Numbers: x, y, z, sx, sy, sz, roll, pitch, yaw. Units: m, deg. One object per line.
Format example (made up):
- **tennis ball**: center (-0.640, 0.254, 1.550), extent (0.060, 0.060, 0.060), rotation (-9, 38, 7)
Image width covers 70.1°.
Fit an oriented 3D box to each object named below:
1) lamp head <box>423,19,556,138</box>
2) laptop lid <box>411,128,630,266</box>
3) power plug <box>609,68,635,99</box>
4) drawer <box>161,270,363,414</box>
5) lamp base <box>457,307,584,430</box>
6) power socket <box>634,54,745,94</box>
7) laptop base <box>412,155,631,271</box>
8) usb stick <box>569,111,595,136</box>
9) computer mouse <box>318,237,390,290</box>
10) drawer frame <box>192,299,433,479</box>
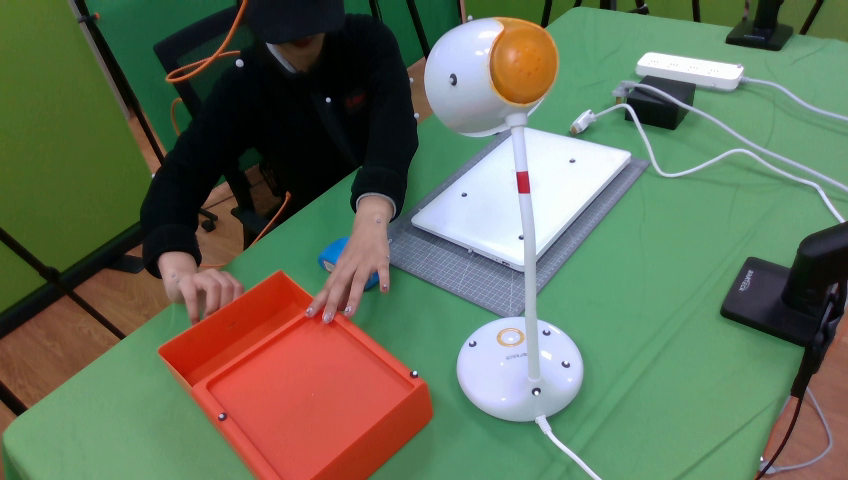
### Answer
- **lamp head**: center (0.068, -0.151, 0.563), extent (0.113, 0.113, 0.122), rotation (-21, 18, -13)
- **laptop lid**: center (0.172, -0.093, 1.049), extent (0.239, 0.013, 0.358), rotation (23, 49, 36)
- **power plug**: center (0.406, -0.322, 1.234), extent (0.035, 0.072, 0.052), rotation (6, 34, -34)
- **drawer**: center (-0.201, 0.157, 0.792), extent (0.195, 0.073, 0.210), rotation (-35, 46, -29)
- **lamp base**: center (0.115, 0.108, 0.713), extent (0.161, 0.181, 0.178), rotation (-16, 43, -8)
- **power socket**: center (0.563, -0.358, 1.295), extent (0.225, 0.033, 0.072), rotation (21, 49, 31)
- **laptop base**: center (0.176, -0.084, 1.055), extent (0.233, 0.023, 0.355), rotation (21, 48, 36)
- **usb stick**: center (0.309, -0.227, 1.189), extent (0.059, 0.021, 0.027), rotation (-44, 13, -19)
- **computer mouse**: center (-0.113, 0.034, 0.959), extent (0.116, 0.041, 0.063), rotation (28, 50, 31)
- **drawer frame**: center (-0.134, 0.195, 0.734), extent (0.202, 0.083, 0.211), rotation (-35, 47, -29)
